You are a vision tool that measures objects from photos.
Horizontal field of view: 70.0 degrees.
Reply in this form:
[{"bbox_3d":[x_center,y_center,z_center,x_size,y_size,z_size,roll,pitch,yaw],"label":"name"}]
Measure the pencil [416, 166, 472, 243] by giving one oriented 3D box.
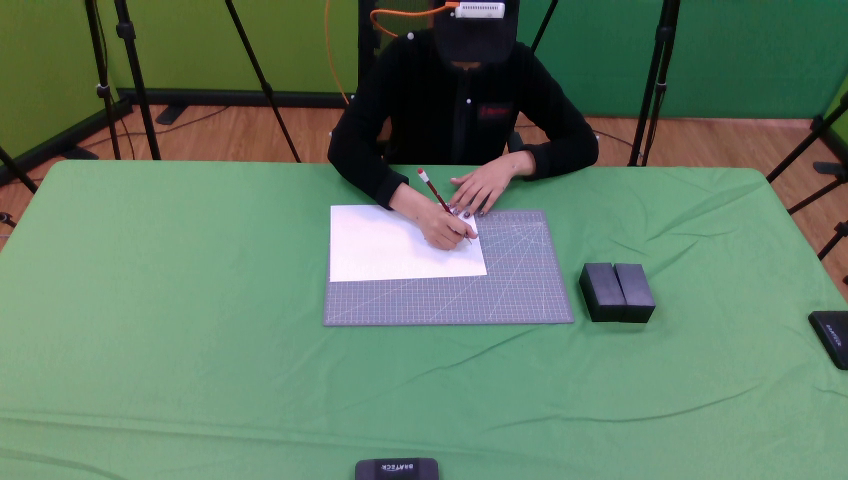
[{"bbox_3d":[0.041,-0.065,1.166,0.012,0.195,0.012,-29,27,17],"label":"pencil"}]
